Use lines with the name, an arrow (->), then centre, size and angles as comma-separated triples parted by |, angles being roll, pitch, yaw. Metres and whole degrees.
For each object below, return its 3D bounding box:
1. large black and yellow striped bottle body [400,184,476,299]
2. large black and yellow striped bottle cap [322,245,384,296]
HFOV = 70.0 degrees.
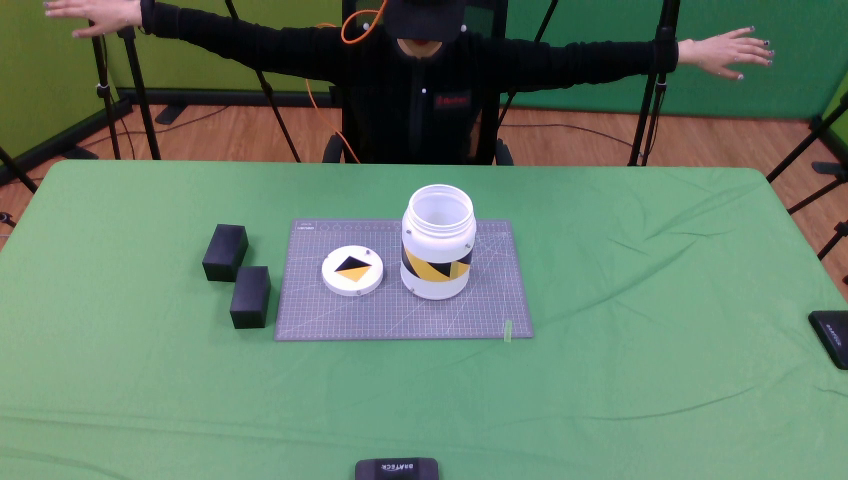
large black and yellow striped bottle body -> 0.024, 0.003, 1.079 | 0.131, 0.185, 0.130 | 2, 46, -2
large black and yellow striped bottle cap -> -0.133, 0.055, 1.135 | 0.115, 0.019, 0.114 | 2, 47, -2
